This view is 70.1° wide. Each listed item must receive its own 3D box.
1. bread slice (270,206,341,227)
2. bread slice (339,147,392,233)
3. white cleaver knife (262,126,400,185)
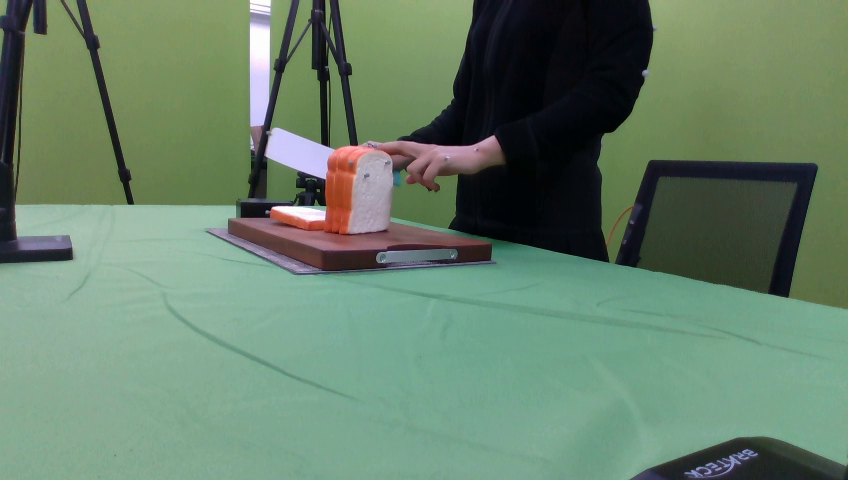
[{"bbox_3d":[-0.188,-0.039,1.002,0.133,0.018,0.107,14,10,43],"label":"bread slice"},{"bbox_3d":[-0.085,-0.075,0.918,0.019,0.131,0.105,13,13,33],"label":"bread slice"},{"bbox_3d":[-0.158,-0.135,1.085,0.288,0.066,0.021,13,-9,-39],"label":"white cleaver knife"}]
